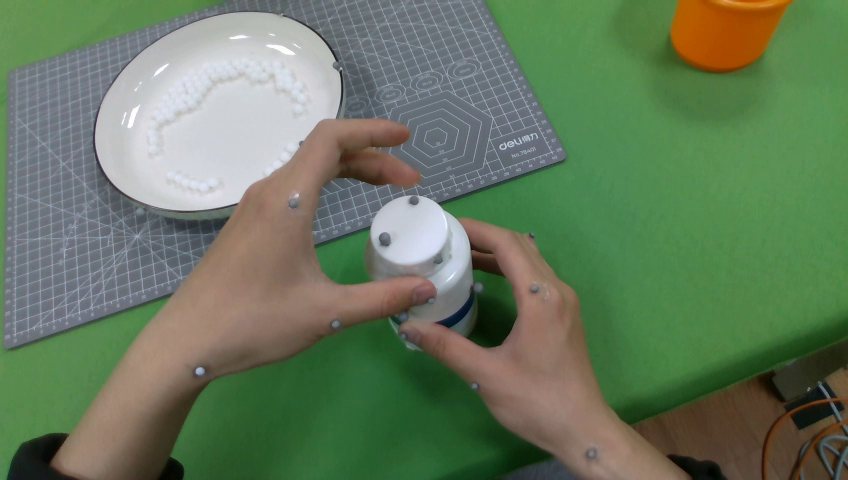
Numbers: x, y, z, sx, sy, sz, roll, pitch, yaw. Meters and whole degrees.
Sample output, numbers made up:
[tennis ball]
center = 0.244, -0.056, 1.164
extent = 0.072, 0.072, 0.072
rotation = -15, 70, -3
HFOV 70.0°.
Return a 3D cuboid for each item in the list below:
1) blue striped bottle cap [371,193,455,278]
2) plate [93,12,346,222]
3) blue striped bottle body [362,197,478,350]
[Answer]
[blue striped bottle cap]
center = -0.006, -0.003, 0.330
extent = 0.044, 0.021, 0.044
rotation = -5, 60, 9
[plate]
center = -0.164, -0.102, 0.503
extent = 0.207, 0.039, 0.206
rotation = -3, 62, 6
[blue striped bottle body]
center = -0.001, 0.020, 0.375
extent = 0.063, 0.122, 0.062
rotation = -3, 61, 7
